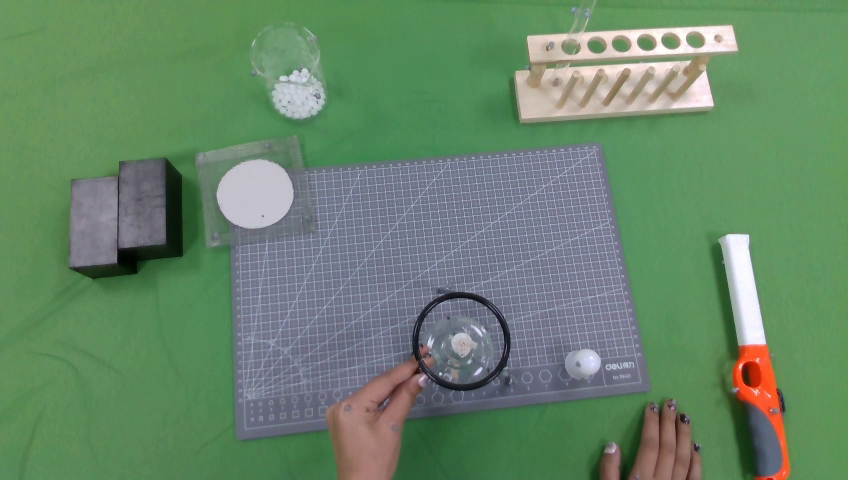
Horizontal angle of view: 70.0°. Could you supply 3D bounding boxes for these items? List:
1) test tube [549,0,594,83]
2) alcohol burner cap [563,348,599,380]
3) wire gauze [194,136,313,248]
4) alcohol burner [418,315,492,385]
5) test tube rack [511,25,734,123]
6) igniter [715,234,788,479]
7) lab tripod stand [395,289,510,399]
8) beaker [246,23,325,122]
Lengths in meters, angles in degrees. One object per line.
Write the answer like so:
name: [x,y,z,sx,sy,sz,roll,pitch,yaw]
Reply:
test tube: [0.163,-0.224,0.680,0.017,0.151,0.017,1,70,-2]
alcohol burner cap: [0.172,0.133,0.654,0.034,0.048,0.033,0,73,-1]
wire gauze: [-0.200,-0.057,0.705,0.125,0.011,0.120,-11,75,-5]
alcohol burner: [0.033,0.112,0.616,0.078,0.119,0.077,1,72,-3]
test tube rack: [0.235,-0.197,0.728,0.242,0.085,0.066,-5,75,-4]
igniter: [0.363,0.127,0.676,0.057,0.025,0.275,1,75,-12]
lab tripod stand: [0.028,0.106,0.606,0.148,0.132,0.147,1,73,-2]
beaker: [-0.152,-0.186,0.699,0.074,0.100,0.083,-36,79,-11]
